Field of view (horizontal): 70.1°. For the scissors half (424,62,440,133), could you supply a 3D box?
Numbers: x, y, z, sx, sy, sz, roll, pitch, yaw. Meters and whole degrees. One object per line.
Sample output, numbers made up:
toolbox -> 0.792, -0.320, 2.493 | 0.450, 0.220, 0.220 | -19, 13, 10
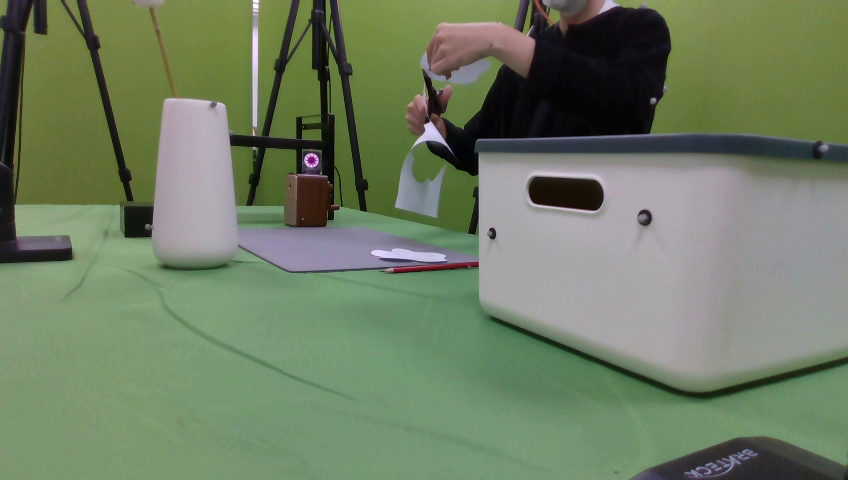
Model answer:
scissors half -> 0.010, -0.253, 1.088 | 0.013, 0.040, 0.175 | 21, -28, 18

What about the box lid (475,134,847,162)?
box lid -> 0.256, -0.073, 0.528 | 0.373, 0.015, 0.262 | -2, 8, -31

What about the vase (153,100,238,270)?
vase -> -0.278, -0.066, 0.736 | 0.098, 0.200, 0.098 | 2, 9, 0

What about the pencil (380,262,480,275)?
pencil -> 0.030, 0.036, 0.794 | 0.195, 0.012, 0.012 | -3, 9, -30

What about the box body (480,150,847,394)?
box body -> 0.254, 0.001, 0.539 | 0.366, 0.160, 0.253 | -2, 9, -31

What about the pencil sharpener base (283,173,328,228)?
pencil sharpener base -> -0.239, -0.081, 1.231 | 0.077, 0.107, 0.061 | -2, 8, -36

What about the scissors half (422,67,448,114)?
scissors half -> 0.019, -0.273, 1.094 | 0.013, 0.040, 0.176 | 16, -3, 17

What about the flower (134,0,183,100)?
flower -> -0.282, -0.147, 0.713 | 0.038, 0.362, 0.044 | -23, 24, -31

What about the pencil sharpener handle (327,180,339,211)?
pencil sharpener handle -> -0.194, -0.094, 1.256 | 0.031, 0.067, 0.036 | -2, -6, -36
